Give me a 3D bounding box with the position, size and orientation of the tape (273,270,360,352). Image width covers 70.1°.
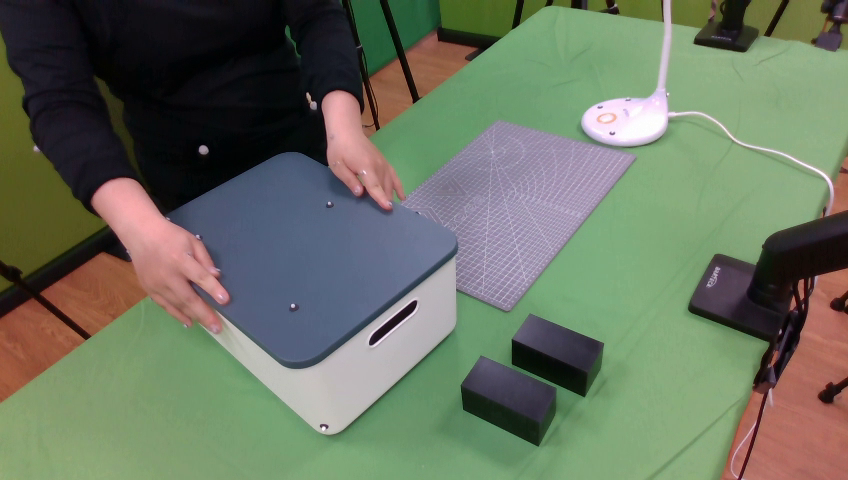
[{"bbox_3d":[-0.149,0.098,0.843,0.117,0.053,0.116,-4,41,4],"label":"tape"}]

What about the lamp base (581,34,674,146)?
[{"bbox_3d":[0.392,-0.291,1.129,0.180,0.181,0.159,-11,41,-8],"label":"lamp base"}]

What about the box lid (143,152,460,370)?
[{"bbox_3d":[-0.164,0.000,0.770,0.368,0.015,0.264,28,51,35],"label":"box lid"}]

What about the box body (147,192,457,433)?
[{"bbox_3d":[-0.157,0.055,0.819,0.361,0.161,0.255,29,52,34],"label":"box body"}]
